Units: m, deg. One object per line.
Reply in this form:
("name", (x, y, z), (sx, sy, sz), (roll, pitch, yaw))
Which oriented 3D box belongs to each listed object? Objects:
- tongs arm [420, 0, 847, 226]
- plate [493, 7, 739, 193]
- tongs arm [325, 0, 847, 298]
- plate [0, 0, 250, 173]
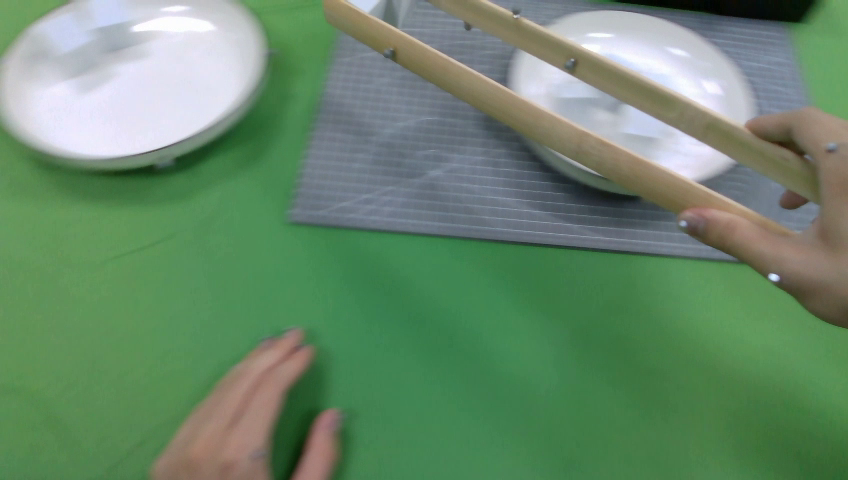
("tongs arm", (0.108, -0.095, 0.386), (0.382, 0.027, 0.050), (34, 59, 22))
("plate", (0.161, -0.122, 0.526), (0.209, 0.038, 0.207), (2, 58, -2))
("tongs arm", (0.080, -0.071, 0.368), (0.384, 0.028, 0.028), (33, 55, 22))
("plate", (-0.250, -0.135, 0.509), (0.208, 0.039, 0.205), (2, 58, -3))
